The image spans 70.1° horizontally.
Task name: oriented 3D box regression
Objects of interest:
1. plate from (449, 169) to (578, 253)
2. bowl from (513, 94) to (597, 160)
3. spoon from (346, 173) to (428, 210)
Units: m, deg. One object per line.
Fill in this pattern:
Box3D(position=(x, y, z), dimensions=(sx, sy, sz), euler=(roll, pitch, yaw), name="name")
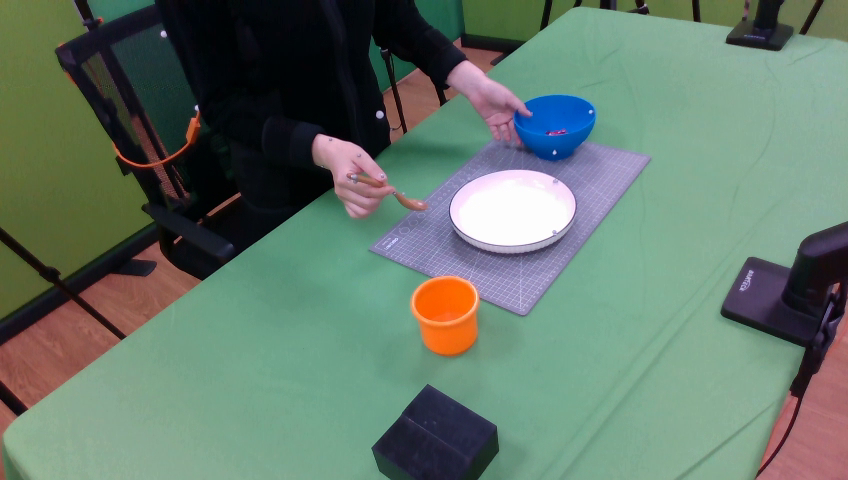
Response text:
Box3D(position=(0.146, -0.044, 0.993), dimensions=(0.209, 0.038, 0.208), euler=(-5, 40, 5), name="plate")
Box3D(position=(0.244, -0.202, 1.130), dimensions=(0.151, 0.077, 0.150), euler=(-6, 40, 5), name="bowl")
Box3D(position=(-0.052, -0.072, 0.879), dimensions=(0.041, 0.195, 0.021), euler=(30, 94, 32), name="spoon")
